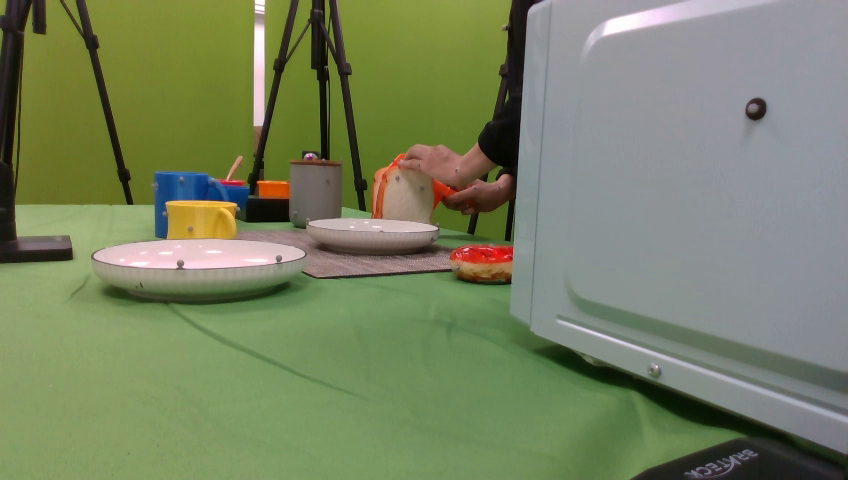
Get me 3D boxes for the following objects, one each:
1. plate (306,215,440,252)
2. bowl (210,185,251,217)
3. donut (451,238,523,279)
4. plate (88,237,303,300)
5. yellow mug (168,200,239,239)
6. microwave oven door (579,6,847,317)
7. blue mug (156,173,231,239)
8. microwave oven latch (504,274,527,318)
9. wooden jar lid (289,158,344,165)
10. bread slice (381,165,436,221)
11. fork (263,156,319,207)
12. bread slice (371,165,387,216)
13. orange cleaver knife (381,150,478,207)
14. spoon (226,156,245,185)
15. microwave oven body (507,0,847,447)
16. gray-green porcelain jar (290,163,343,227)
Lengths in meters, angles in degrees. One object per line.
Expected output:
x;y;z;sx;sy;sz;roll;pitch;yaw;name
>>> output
-0.079;-0.011;0.950;0.209;0.038;0.209;2;8;0;plate
-0.408;-0.064;1.155;0.151;0.077;0.151;2;8;0;bowl
0.082;0.022;0.745;0.099;0.048;0.099;1;5;0;donut
-0.233;0.029;0.637;0.208;0.039;0.207;2;7;0;plate
-0.320;-0.023;0.904;0.130;0.064;0.100;9;11;36;yellow mug
0.294;-0.067;0.570;0.358;0.243;0.039;-3;9;-31;microwave oven door
-0.381;-0.057;1.004;0.117;0.106;0.082;1;8;-12;blue mug
0.100;0.041;0.471;0.079;0.029;0.030;-1;8;-28;microwave oven latch
-0.215;-0.153;1.212;0.108;0.020;0.108;2;5;0;wooden jar lid
-0.031;-0.070;1.112;0.107;0.134;0.018;0;5;-20;bread slice
-0.331;-0.144;1.505;0.207;0.018;0.028;-42;-20;22;fork
-0.052;-0.080;1.163;0.105;0.131;0.019;-1;3;-23;bread slice
0.013;-0.100;1.180;0.212;0.077;0.012;28;-4;-25;orange cleaver knife
-0.477;-0.145;1.492;0.041;0.022;0.193;0;51;12;spoon
0.331;-0.042;0.425;0.444;0.260;0.324;-2;8;-31;microwave oven body
-0.217;-0.091;1.221;0.106;0.126;0.106;2;7;0;gray-green porcelain jar
